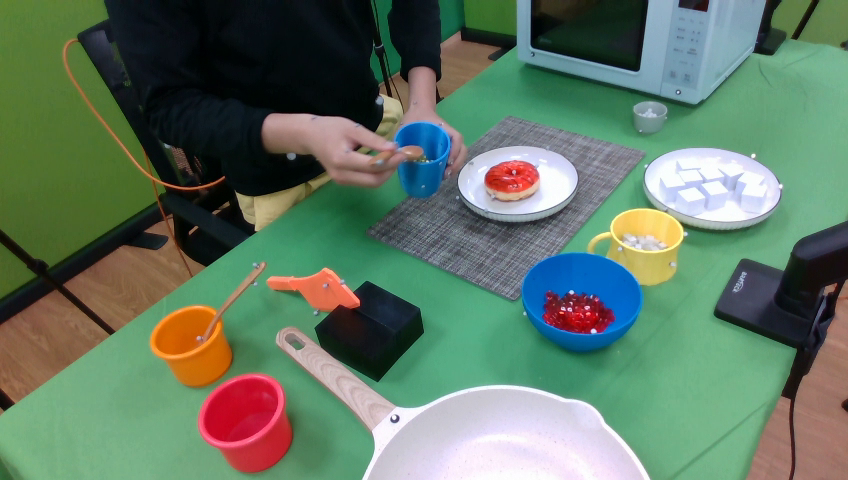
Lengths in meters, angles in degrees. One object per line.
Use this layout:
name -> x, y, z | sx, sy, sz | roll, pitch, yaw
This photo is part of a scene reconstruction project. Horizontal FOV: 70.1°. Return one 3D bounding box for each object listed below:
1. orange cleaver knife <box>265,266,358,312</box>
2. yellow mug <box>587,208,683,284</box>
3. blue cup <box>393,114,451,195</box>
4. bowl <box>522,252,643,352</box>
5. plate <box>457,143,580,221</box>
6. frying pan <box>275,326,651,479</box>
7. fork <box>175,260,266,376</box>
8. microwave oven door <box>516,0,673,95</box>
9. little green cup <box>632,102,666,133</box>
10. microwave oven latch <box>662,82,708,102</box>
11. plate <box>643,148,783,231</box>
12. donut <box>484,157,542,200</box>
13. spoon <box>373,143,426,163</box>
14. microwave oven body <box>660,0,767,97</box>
orange cleaver knife -> -0.164, 0.073, 0.864 | 0.210, 0.077, 0.012 | -6, 30, 50
yellow mug -> 0.305, 0.009, 0.884 | 0.131, 0.064, 0.099 | -4, 41, 5
blue cup -> -0.004, -0.121, 0.925 | 0.093, 0.100, 0.092 | 1, 59, -2
bowl -> 0.204, 0.093, 0.791 | 0.151, 0.077, 0.150 | -4, 40, 4
plate -> 0.161, -0.097, 1.042 | 0.209, 0.038, 0.208 | -4, 40, 4
frying pan -> 0.003, 0.229, 0.641 | 0.484, 0.103, 0.308 | 34, 54, 28
fork -> -0.268, 0.103, 0.792 | 0.207, 0.019, 0.028 | -51, 40, 16
microwave oven door -> 0.344, -0.458, 1.256 | 0.353, 0.245, 0.039 | 26, 51, 33
little green cup -> 0.434, -0.237, 1.171 | 0.061, 0.039, 0.061 | -5, 40, 5
microwave oven latch -> 0.518, -0.299, 1.203 | 0.078, 0.029, 0.030 | 29, 53, 36
plate -> 0.464, -0.079, 0.986 | 0.207, 0.039, 0.206 | -4, 40, 4
donut -> 0.153, -0.107, 1.039 | 0.099, 0.048, 0.098 | -6, 37, 5
spoon -> -0.035, -0.113, 0.778 | 0.041, 0.021, 0.194 | 5, 10, 12
microwave oven body -> 0.473, -0.516, 1.313 | 0.438, 0.261, 0.327 | 26, 51, 34
